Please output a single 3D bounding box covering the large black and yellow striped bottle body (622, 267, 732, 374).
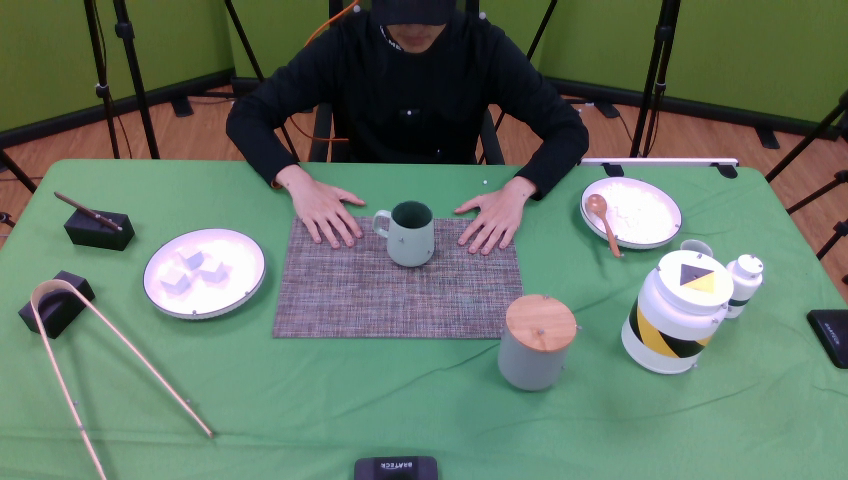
[{"bbox_3d":[0.415,0.119,0.997,0.131,0.185,0.130,2,46,-2],"label":"large black and yellow striped bottle body"}]

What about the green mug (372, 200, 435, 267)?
[{"bbox_3d":[-0.040,-0.016,1.146,0.125,0.105,0.092,17,48,13],"label":"green mug"}]

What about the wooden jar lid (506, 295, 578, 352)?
[{"bbox_3d":[0.179,0.130,0.926,0.108,0.021,0.107,2,43,-2],"label":"wooden jar lid"}]

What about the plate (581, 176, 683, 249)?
[{"bbox_3d":[0.430,-0.054,1.267,0.209,0.038,0.208,2,46,-2],"label":"plate"}]

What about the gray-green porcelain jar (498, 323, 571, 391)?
[{"bbox_3d":[0.176,0.172,0.971,0.106,0.127,0.105,2,46,-2],"label":"gray-green porcelain jar"}]

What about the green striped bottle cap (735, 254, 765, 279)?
[{"bbox_3d":[0.566,0.046,1.051,0.044,0.020,0.044,0,45,0],"label":"green striped bottle cap"}]

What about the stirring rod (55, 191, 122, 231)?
[{"bbox_3d":[-0.632,-0.055,1.139,0.175,0.014,0.006,24,50,19],"label":"stirring rod"}]

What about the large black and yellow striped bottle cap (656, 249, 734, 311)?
[{"bbox_3d":[0.419,0.061,0.938,0.115,0.019,0.114,2,47,-2],"label":"large black and yellow striped bottle cap"}]

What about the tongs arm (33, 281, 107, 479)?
[{"bbox_3d":[-0.517,0.214,0.910,0.051,0.026,0.383,-28,63,-27],"label":"tongs arm"}]

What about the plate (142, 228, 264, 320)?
[{"bbox_3d":[-0.394,0.064,1.095,0.208,0.039,0.206,2,46,-2],"label":"plate"}]

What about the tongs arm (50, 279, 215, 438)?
[{"bbox_3d":[-0.459,0.178,0.950,0.386,0.028,0.028,37,60,17],"label":"tongs arm"}]

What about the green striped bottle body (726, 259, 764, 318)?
[{"bbox_3d":[0.563,0.081,1.089,0.063,0.120,0.063,2,46,-2],"label":"green striped bottle body"}]

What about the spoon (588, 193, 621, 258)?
[{"bbox_3d":[0.367,-0.032,1.220,0.041,0.022,0.192,1,38,-1],"label":"spoon"}]

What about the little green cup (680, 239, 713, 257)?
[{"bbox_3d":[0.530,0.033,1.189,0.061,0.039,0.061,2,48,-2],"label":"little green cup"}]
